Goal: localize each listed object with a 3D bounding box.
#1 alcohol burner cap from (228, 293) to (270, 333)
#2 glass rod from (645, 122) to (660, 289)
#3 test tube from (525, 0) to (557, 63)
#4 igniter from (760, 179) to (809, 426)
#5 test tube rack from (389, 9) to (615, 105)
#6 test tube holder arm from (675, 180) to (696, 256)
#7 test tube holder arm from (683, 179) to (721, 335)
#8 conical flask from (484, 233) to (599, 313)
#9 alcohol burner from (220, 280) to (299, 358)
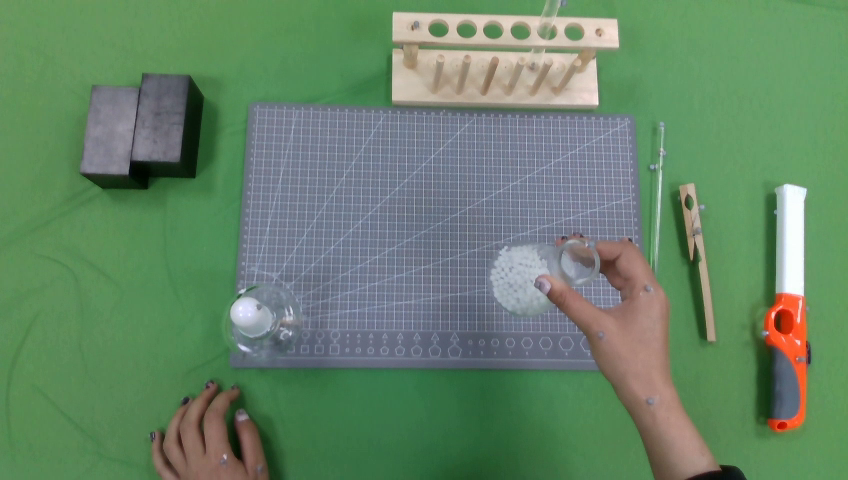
[{"bbox_3d":[-0.162,0.065,0.555,0.034,0.048,0.033,1,69,-3],"label":"alcohol burner cap"},{"bbox_3d":[0.264,-0.042,0.698,0.008,0.008,0.199,8,80,-2],"label":"glass rod"},{"bbox_3d":[0.125,-0.231,0.640,0.017,0.151,0.017,0,75,1],"label":"test tube"},{"bbox_3d":[0.402,0.066,0.674,0.057,0.025,0.275,11,78,-11],"label":"igniter"},{"bbox_3d":[0.082,-0.203,0.682,0.242,0.085,0.066,0,78,-3],"label":"test tube rack"},{"bbox_3d":[0.301,-0.025,0.693,0.010,0.015,0.087,-13,77,32],"label":"test tube holder arm"},{"bbox_3d":[0.311,0.018,0.681,0.013,0.015,0.177,-15,76,31],"label":"test tube holder arm"},{"bbox_3d":[0.105,0.023,0.527,0.075,0.122,0.075,2,80,-13],"label":"conical flask"},{"bbox_3d":[-0.164,0.074,0.590,0.078,0.119,0.077,0,76,-1],"label":"alcohol burner"}]
